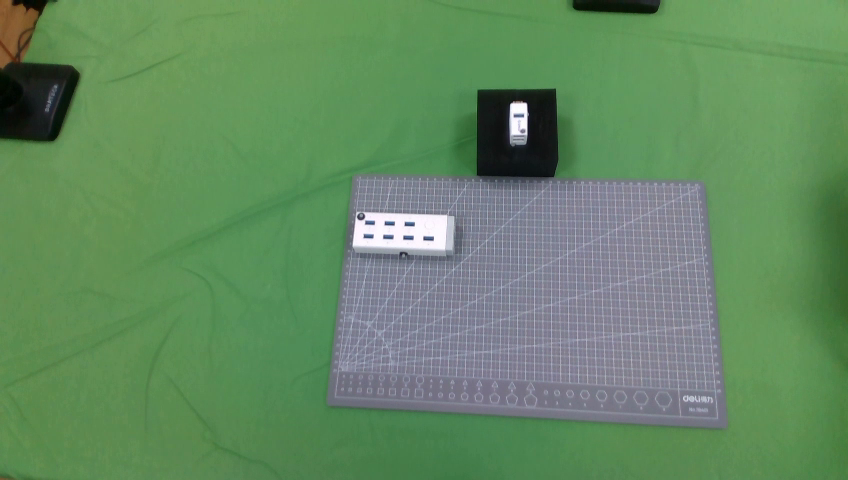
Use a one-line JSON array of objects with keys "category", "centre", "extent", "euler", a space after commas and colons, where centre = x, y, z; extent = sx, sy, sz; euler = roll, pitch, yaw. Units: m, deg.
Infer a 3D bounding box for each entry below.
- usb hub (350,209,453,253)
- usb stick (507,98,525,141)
[{"category": "usb hub", "centre": [-0.028, -0.012, 0.756], "extent": [0.125, 0.025, 0.049], "euler": [2, 70, 5]}, {"category": "usb stick", "centre": [0.113, -0.153, 0.746], "extent": [0.021, 0.027, 0.059], "euler": [-1, 67, 8]}]
